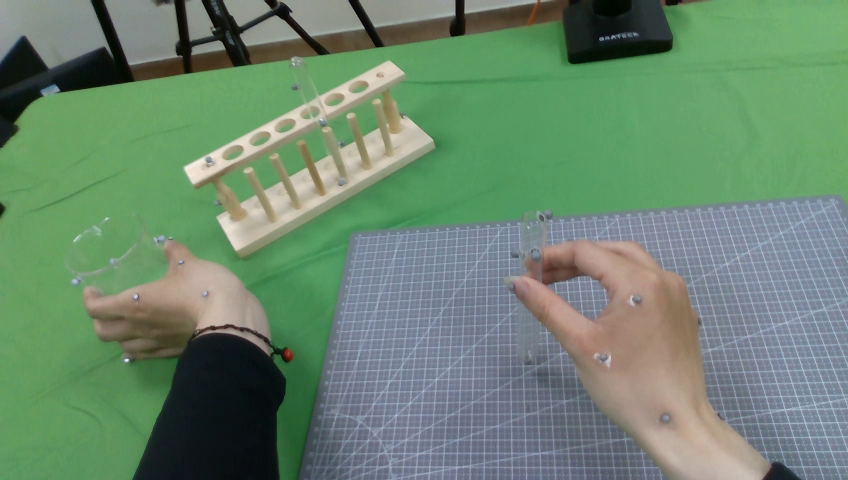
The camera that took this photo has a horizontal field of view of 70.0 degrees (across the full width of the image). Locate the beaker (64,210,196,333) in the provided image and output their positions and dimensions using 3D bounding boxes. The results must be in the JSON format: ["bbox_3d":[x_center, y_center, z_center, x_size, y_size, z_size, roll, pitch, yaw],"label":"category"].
[{"bbox_3d":[-0.267,0.032,0.561,0.074,0.101,0.083,-40,48,-20],"label":"beaker"}]

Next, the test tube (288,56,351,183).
[{"bbox_3d":[-0.101,-0.115,0.601,0.017,0.152,0.017,-8,47,9],"label":"test tube"}]

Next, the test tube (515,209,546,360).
[{"bbox_3d":[0.071,0.037,0.413,0.017,0.152,0.017,-3,47,4],"label":"test tube"}]

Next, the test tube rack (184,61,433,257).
[{"bbox_3d":[-0.115,-0.089,0.642,0.242,0.086,0.066,-31,50,-13],"label":"test tube rack"}]
